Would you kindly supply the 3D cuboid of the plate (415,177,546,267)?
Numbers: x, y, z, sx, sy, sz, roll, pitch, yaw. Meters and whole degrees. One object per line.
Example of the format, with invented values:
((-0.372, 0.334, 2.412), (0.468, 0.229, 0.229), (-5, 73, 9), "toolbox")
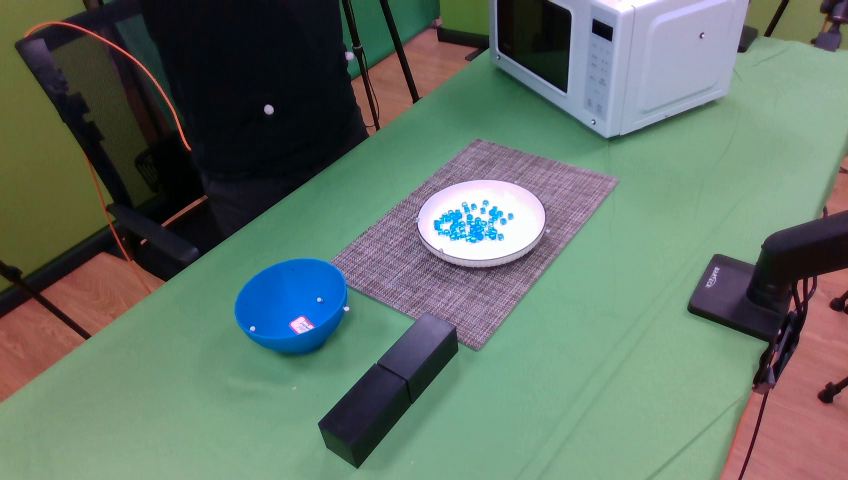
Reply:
((0.091, -0.026, 0.970), (0.207, 0.039, 0.206), (-4, 41, 4), "plate")

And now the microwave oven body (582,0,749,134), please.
((0.382, -0.444, 1.246), (0.327, 0.261, 0.437), (-22, 42, -16), "microwave oven body")

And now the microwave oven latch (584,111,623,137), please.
((0.337, -0.222, 1.142), (0.030, 0.029, 0.078), (-21, 42, -14), "microwave oven latch")

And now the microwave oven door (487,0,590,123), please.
((0.232, -0.420, 1.231), (0.039, 0.245, 0.352), (-22, 43, -16), "microwave oven door")

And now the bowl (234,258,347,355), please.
((-0.174, 0.103, 0.831), (0.151, 0.077, 0.150), (-4, 40, 4), "bowl")
